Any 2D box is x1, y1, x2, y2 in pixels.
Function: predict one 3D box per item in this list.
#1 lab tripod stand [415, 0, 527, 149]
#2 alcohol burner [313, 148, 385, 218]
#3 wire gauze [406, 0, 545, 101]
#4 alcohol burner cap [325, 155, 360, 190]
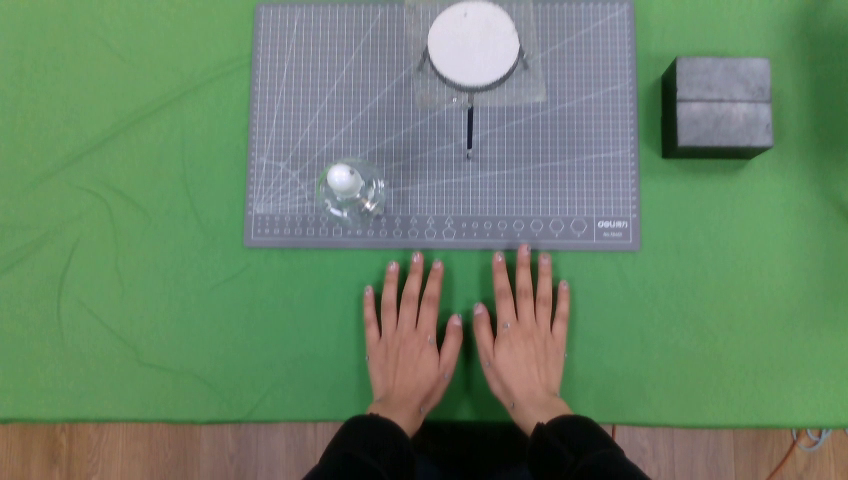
[{"bbox_3d":[0.052,-0.186,0.638,0.148,0.132,0.148,0,82,2],"label":"lab tripod stand"},{"bbox_3d":[-0.081,-0.064,0.640,0.078,0.119,0.077,0,83,1],"label":"alcohol burner"},{"bbox_3d":[0.047,-0.192,0.572,0.125,0.011,0.121,-5,84,1],"label":"wire gauze"},{"bbox_3d":[-0.084,-0.069,0.604,0.034,0.048,0.034,0,86,1],"label":"alcohol burner cap"}]
